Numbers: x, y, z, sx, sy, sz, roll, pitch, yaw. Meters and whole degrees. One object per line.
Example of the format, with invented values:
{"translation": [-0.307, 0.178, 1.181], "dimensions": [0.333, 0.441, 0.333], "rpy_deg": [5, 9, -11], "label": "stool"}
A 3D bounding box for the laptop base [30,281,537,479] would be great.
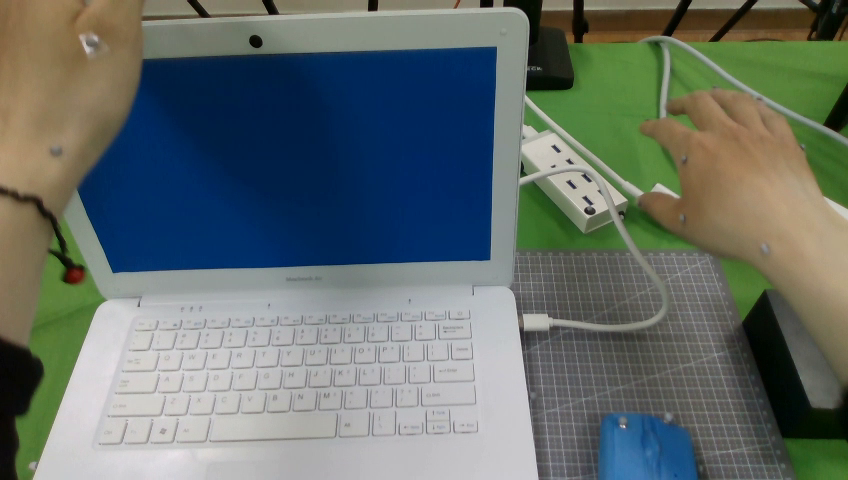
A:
{"translation": [-0.099, 0.135, 0.448], "dimensions": [0.354, 0.023, 0.233], "rpy_deg": [-2, 53, 1], "label": "laptop base"}

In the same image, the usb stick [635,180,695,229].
{"translation": [0.231, -0.032, 0.570], "dimensions": [0.059, 0.027, 0.021], "rpy_deg": [31, 16, 5], "label": "usb stick"}

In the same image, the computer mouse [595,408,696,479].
{"translation": [0.145, 0.163, 0.400], "dimensions": [0.062, 0.041, 0.116], "rpy_deg": [9, 46, 12], "label": "computer mouse"}

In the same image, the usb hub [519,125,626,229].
{"translation": [0.140, -0.065, 0.604], "dimensions": [0.049, 0.025, 0.123], "rpy_deg": [-23, 53, -17], "label": "usb hub"}

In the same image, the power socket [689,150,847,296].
{"translation": [0.353, -0.008, 0.545], "dimensions": [0.072, 0.033, 0.224], "rpy_deg": [-34, 56, -24], "label": "power socket"}

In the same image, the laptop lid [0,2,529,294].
{"translation": [-0.105, -0.051, 0.451], "dimensions": [0.357, 0.244, 0.013], "rpy_deg": [-3, 37, 1], "label": "laptop lid"}
